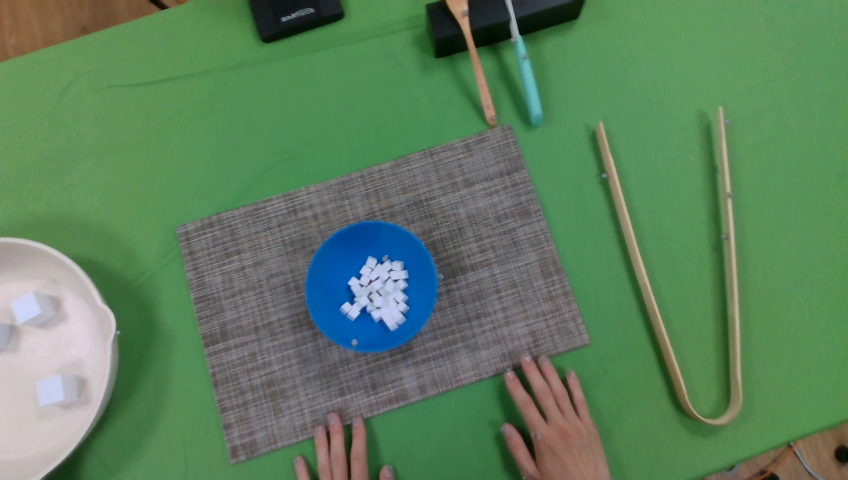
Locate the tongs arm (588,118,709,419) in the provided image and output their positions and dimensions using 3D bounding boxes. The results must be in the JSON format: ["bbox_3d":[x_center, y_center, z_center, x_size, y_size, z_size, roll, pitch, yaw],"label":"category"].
[{"bbox_3d":[0.265,0.028,0.741,0.028,0.028,0.385,-14,79,-4],"label":"tongs arm"}]

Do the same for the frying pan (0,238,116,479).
[{"bbox_3d":[-0.467,0.237,0.673,0.307,0.103,0.484,-18,70,-2],"label":"frying pan"}]

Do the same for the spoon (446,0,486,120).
[{"bbox_3d":[0.053,-0.249,0.769,0.041,0.021,0.194,-7,99,22],"label":"spoon"}]

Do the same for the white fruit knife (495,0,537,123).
[{"bbox_3d":[0.110,-0.253,0.774,0.016,0.027,0.207,-17,93,-7],"label":"white fruit knife"}]

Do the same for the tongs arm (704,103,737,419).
[{"bbox_3d":[0.347,0.018,0.737,0.051,0.026,0.383,-2,79,2],"label":"tongs arm"}]

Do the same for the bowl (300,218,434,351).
[{"bbox_3d":[-0.062,0.056,0.712,0.151,0.077,0.150,0,78,1],"label":"bowl"}]
